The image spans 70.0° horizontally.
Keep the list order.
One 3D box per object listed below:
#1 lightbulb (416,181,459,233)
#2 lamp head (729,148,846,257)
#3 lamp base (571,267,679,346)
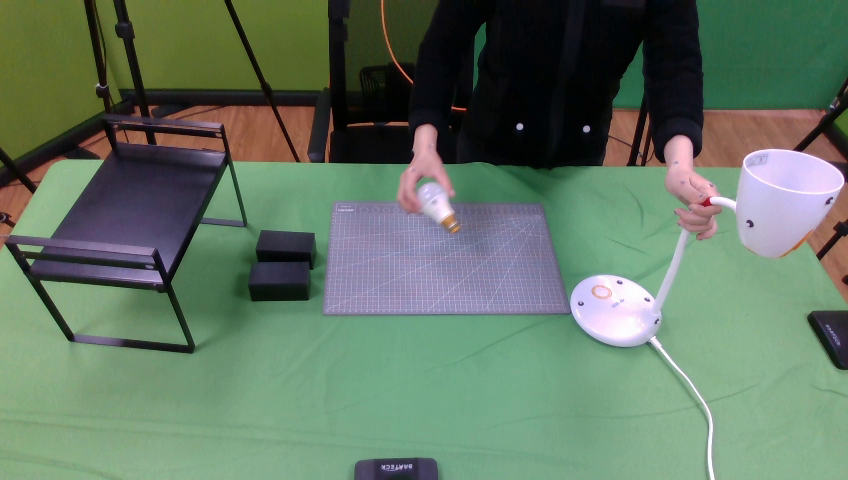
[{"bbox_3d":[0.027,-0.057,1.081,0.059,0.060,0.107,-27,71,-26],"label":"lightbulb"},{"bbox_3d":[0.440,-0.042,0.759,0.112,0.123,0.111,1,40,-1],"label":"lamp head"},{"bbox_3d":[0.360,0.077,1.037,0.160,0.181,0.178,-34,59,-31],"label":"lamp base"}]
